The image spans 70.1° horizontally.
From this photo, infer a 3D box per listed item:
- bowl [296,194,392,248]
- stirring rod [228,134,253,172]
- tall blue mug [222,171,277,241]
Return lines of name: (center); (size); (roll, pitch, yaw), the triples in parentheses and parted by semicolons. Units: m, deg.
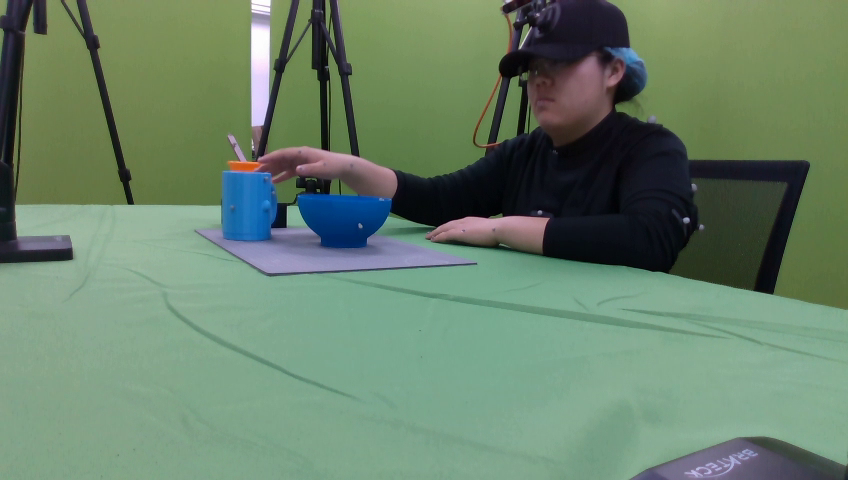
bowl: (-0.128, -0.030, 0.964); (0.151, 0.077, 0.151); (2, 7, 0)
stirring rod: (-0.353, -0.148, 1.197); (0.014, 0.006, 0.175); (-3, 51, -46)
tall blue mug: (-0.290, -0.059, 1.003); (0.078, 0.108, 0.107); (1, 7, -6)
